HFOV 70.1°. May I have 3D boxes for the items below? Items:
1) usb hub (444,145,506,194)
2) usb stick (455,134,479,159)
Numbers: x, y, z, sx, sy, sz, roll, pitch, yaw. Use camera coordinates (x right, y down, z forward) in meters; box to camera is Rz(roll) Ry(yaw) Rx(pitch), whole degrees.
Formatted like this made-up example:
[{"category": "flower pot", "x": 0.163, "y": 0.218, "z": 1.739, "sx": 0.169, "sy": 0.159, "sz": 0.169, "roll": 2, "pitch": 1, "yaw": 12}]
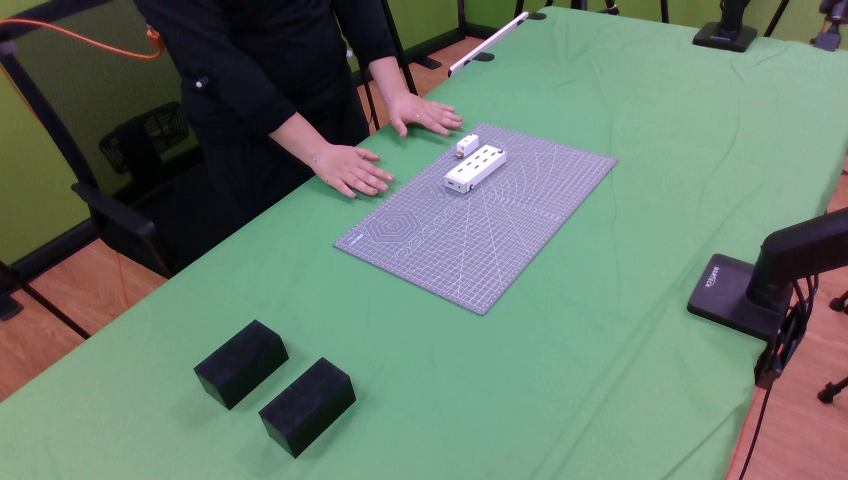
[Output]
[{"category": "usb hub", "x": 0.095, "y": -0.129, "z": 1.101, "sx": 0.049, "sy": 0.025, "sz": 0.125, "roll": 27, "pitch": 51, "yaw": 33}, {"category": "usb stick", "x": 0.080, "y": -0.177, "z": 1.159, "sx": 0.021, "sy": 0.027, "sz": 0.059, "roll": 24, "pitch": 52, "yaw": 33}]
